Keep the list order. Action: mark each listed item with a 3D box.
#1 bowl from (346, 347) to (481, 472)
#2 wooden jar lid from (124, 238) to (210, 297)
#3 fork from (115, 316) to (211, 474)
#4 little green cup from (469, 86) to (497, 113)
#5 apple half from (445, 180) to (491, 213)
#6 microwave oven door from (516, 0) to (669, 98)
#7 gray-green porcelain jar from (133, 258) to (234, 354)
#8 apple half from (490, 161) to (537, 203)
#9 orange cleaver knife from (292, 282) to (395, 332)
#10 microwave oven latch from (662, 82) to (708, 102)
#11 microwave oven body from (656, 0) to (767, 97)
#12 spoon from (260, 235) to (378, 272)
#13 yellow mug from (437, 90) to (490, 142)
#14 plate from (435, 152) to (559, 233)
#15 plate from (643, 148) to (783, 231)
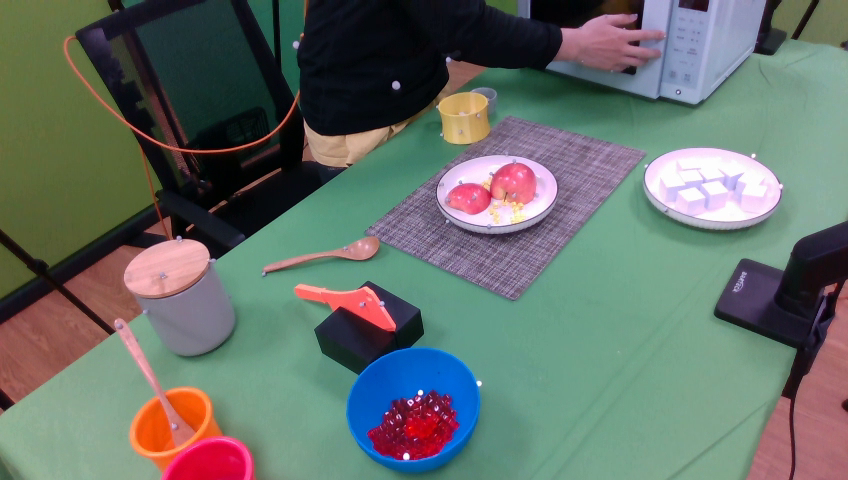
[{"bbox_3d":[-0.008,0.205,0.691,0.151,0.077,0.150,-4,40,4],"label":"bowl"},{"bbox_3d":[-0.335,0.039,0.795,0.108,0.021,0.108,-2,40,2],"label":"wooden jar lid"},{"bbox_3d":[-0.309,0.179,0.708,0.028,0.018,0.207,-30,89,-24],"label":"fork"},{"bbox_3d":[0.124,-0.298,1.285,0.061,0.039,0.061,-3,39,3],"label":"little green cup"},{"bbox_3d":[0.077,-0.084,1.029,0.081,0.033,0.081,-1,42,2],"label":"apple half"},{"bbox_3d":[0.339,-0.453,1.252,0.353,0.245,0.039,29,53,35],"label":"microwave oven door"},{"bbox_3d":[-0.328,0.087,0.837,0.106,0.127,0.105,-4,41,4],"label":"gray-green porcelain jar"},{"bbox_3d":[0.154,-0.106,1.030,0.080,0.053,0.075,22,46,31],"label":"apple half"},{"bbox_3d":[-0.116,0.091,0.835,0.209,0.077,0.012,1,32,48],"label":"orange cleaver knife"},{"bbox_3d":[0.518,-0.298,1.202,0.078,0.029,0.030,28,53,35],"label":"microwave oven latch"},{"bbox_3d":[0.474,-0.516,1.313,0.438,0.261,0.327,26,51,34],"label":"microwave oven body"},{"bbox_3d":[-0.167,0.024,0.966,0.194,0.022,0.041,-10,57,-3],"label":"spoon"},{"bbox_3d":[0.070,-0.257,1.224,0.100,0.064,0.129,-33,43,-25],"label":"yellow mug"},{"bbox_3d":[0.124,-0.078,1.026,0.209,0.038,0.208,-4,40,4],"label":"plate"},{"bbox_3d":[0.464,-0.080,0.985,0.207,0.039,0.206,-4,41,4],"label":"plate"}]
